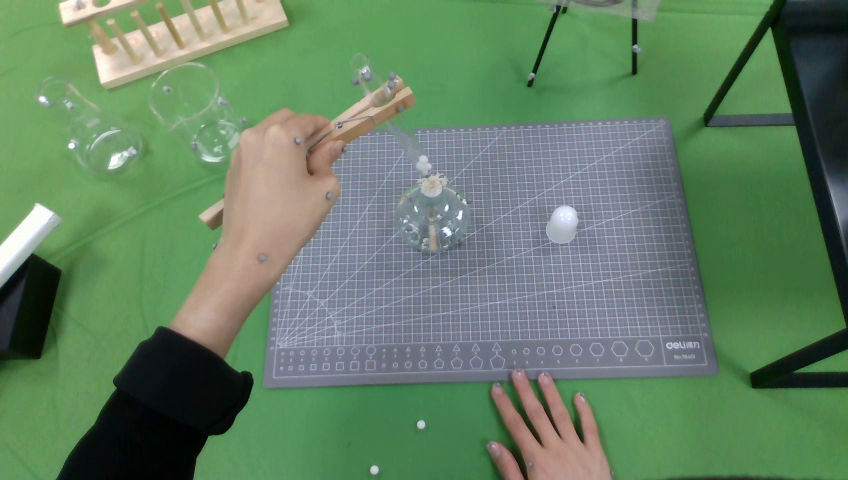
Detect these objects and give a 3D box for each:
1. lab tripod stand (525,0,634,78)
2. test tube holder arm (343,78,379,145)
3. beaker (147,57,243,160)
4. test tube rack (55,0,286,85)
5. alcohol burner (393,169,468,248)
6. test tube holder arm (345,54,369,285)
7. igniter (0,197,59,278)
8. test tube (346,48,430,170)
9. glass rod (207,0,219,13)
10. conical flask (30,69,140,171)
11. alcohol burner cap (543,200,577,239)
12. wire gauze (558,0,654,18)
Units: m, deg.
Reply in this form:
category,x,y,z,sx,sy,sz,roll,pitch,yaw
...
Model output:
category,x,y,z,sx,sy,sz,roll,pitch,yaw
lab tripod stand,0.181,-0.259,0.685,0.148,0.132,0.147,0,67,1
test tube holder arm,-0.049,-0.092,0.461,0.015,0.088,0.010,3,67,-15
beaker,-0.251,-0.139,0.676,0.074,0.101,0.083,12,69,8
test tube rack,-0.304,-0.282,0.743,0.242,0.086,0.066,-22,68,-6
alcohol burner,0.006,-0.038,0.613,0.078,0.120,0.077,0,67,1
test tube holder arm,-0.053,-0.053,0.474,0.015,0.013,0.178,0,94,-19
igniter,-0.465,0.073,0.589,0.057,0.025,0.275,25,71,22
test tube,-0.024,-0.097,0.480,0.017,0.152,0.017,-8,64,17
glass rod,-0.284,-0.340,0.694,0.008,0.201,0.008,-4,61,8
conical flask,-0.377,-0.135,0.668,0.075,0.123,0.075,-1,68,3
alcohol burner cap,0.145,-0.025,0.640,0.034,0.048,0.033,-1,68,2
wire gauze,0.185,-0.286,0.622,0.121,0.011,0.124,19,71,8
